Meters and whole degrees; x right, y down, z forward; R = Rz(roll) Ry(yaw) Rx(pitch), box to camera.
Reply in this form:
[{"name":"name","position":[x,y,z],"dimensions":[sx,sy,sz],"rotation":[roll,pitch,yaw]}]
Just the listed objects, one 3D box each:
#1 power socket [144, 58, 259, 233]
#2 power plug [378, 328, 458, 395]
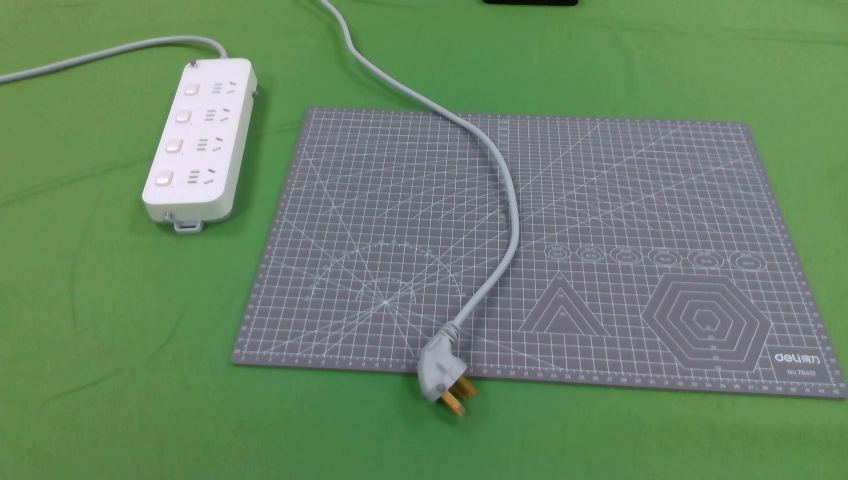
[{"name":"power socket","position":[-0.209,-0.103,0.588],"dimensions":[0.072,0.033,0.224],"rotation":[-1,51,-2]},{"name":"power plug","position":[-0.003,0.076,0.423],"dimensions":[0.035,0.073,0.052],"rotation":[-34,15,-10]}]
